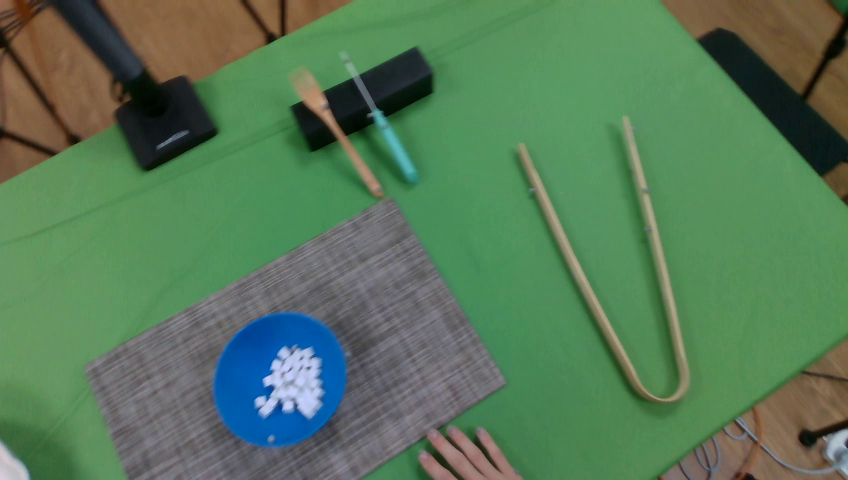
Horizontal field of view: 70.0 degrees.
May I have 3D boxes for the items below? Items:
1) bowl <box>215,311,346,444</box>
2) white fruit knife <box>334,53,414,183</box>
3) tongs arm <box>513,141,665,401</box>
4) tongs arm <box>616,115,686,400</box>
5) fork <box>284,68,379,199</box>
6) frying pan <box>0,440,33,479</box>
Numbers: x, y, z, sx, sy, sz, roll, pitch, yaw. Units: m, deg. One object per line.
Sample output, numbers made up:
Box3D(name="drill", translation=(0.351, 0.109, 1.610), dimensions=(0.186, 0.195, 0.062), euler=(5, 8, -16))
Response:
Box3D(name="bowl", translation=(-0.162, 0.167, 0.724), dimensions=(0.151, 0.077, 0.150), euler=(0, 70, 1))
Box3D(name="white fruit knife", translation=(-0.072, -0.170, 0.838), dimensions=(0.016, 0.027, 0.207), euler=(-32, 90, -3))
Box3D(name="tongs arm", translation=(0.204, 0.032, 0.794), dimensions=(0.028, 0.028, 0.384), euler=(-21, 72, -8))
Box3D(name="tongs arm", translation=(0.283, 0.011, 0.795), dimensions=(0.051, 0.027, 0.382), euler=(-10, 72, -1))
Box3D(name="fork", translation=(-0.124, -0.143, 0.831), dimensions=(0.028, 0.018, 0.207), euler=(-37, 94, -15))
Box3D(name="frying pan", translation=(-0.515, 0.422, 0.633), dimensions=(0.307, 0.103, 0.483), euler=(-31, 65, -8))
